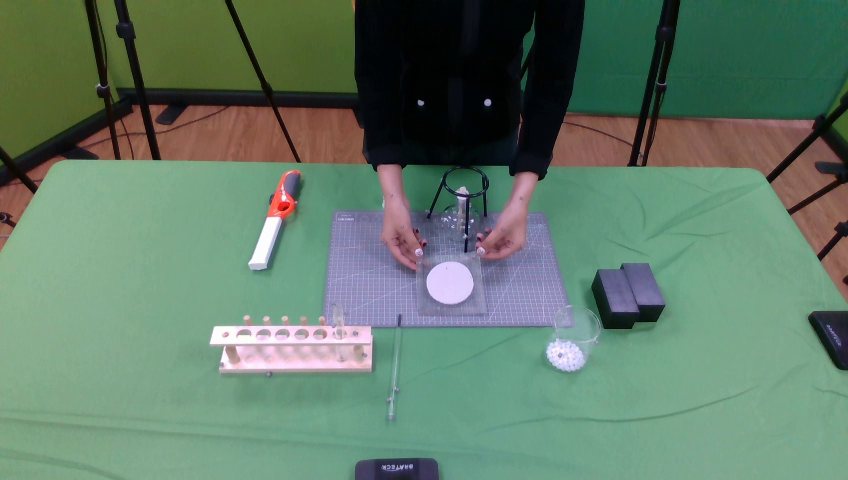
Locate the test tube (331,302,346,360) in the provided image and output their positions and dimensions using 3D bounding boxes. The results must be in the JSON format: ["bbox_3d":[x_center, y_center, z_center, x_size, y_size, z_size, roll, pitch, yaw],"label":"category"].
[{"bbox_3d":[-0.132,0.144,0.938,0.017,0.151,0.017,2,49,-3],"label":"test tube"}]

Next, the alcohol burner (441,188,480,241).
[{"bbox_3d":[0.073,-0.056,1.189,0.078,0.120,0.077,1,48,-1],"label":"alcohol burner"}]

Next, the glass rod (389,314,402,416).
[{"bbox_3d":[-0.048,0.203,1.008,0.008,0.008,0.198,4,45,0],"label":"glass rod"}]

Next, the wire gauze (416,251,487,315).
[{"bbox_3d":[0.048,0.079,1.108,0.125,0.011,0.121,-3,64,2],"label":"wire gauze"}]

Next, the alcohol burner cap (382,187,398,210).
[{"bbox_3d":[-0.072,-0.090,1.266,0.034,0.048,0.033,2,47,-2],"label":"alcohol burner cap"}]

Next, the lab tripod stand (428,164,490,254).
[{"bbox_3d":[0.078,-0.067,1.187,0.148,0.132,0.147,3,47,-3],"label":"lab tripod stand"}]

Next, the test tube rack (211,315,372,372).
[{"bbox_3d":[-0.208,0.163,0.982,0.242,0.085,0.066,1,46,-4],"label":"test tube rack"}]

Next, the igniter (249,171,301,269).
[{"bbox_3d":[-0.297,-0.049,1.220,0.057,0.025,0.275,-2,45,9],"label":"igniter"}]

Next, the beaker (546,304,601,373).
[{"bbox_3d":[0.242,0.167,1.001,0.084,0.101,0.073,-32,55,-28],"label":"beaker"}]
